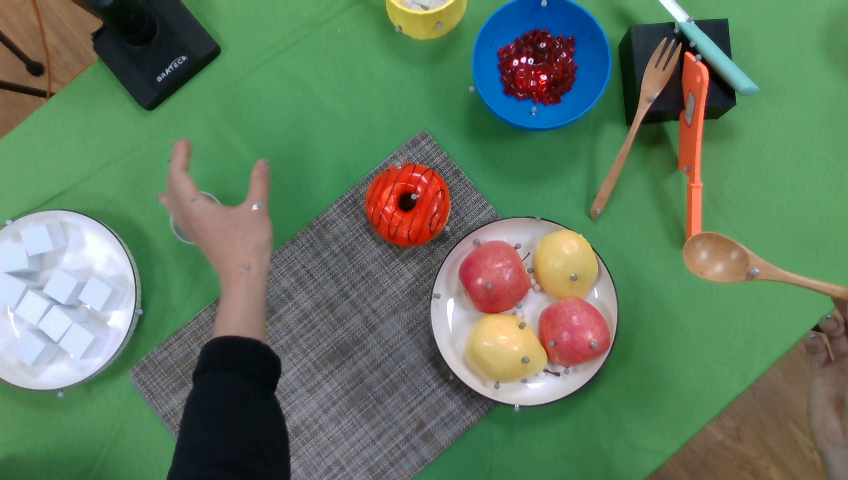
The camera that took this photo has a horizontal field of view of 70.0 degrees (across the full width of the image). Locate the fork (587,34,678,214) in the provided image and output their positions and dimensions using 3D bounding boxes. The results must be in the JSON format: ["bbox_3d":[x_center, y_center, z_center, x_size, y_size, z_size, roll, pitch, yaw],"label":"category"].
[{"bbox_3d":[0.226,-0.123,0.672,0.028,0.018,0.208,19,105,-4],"label":"fork"}]

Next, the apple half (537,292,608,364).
[{"bbox_3d":[0.155,0.097,0.656,0.081,0.033,0.081,2,97,22],"label":"apple half"}]

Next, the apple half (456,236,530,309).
[{"bbox_3d":[0.075,0.037,0.665,0.074,0.053,0.080,-23,87,0],"label":"apple half"}]

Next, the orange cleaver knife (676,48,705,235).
[{"bbox_3d":[0.291,-0.102,0.670,0.012,0.077,0.212,-4,109,7],"label":"orange cleaver knife"}]

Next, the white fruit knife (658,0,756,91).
[{"bbox_3d":[0.288,-0.241,0.668,0.027,0.016,0.206,-34,81,-31],"label":"white fruit knife"}]

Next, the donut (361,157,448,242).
[{"bbox_3d":[-0.022,-0.046,0.692,0.099,0.048,0.099,0,86,4],"label":"donut"}]

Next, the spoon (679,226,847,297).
[{"bbox_3d":[0.305,0.031,0.485,0.192,0.022,0.041,19,82,22],"label":"spoon"}]

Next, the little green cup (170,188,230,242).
[{"bbox_3d":[-0.258,-0.026,0.706,0.061,0.039,0.061,0,84,3],"label":"little green cup"}]

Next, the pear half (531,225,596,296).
[{"bbox_3d":[0.151,0.029,0.666,0.070,0.031,0.088,-11,94,25],"label":"pear half"}]

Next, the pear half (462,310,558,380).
[{"bbox_3d":[0.100,0.121,0.660,0.110,0.056,0.076,23,90,0],"label":"pear half"}]

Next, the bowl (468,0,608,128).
[{"bbox_3d":[0.124,-0.192,0.688,0.151,0.077,0.151,0,85,2],"label":"bowl"}]

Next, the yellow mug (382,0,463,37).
[{"bbox_3d":[-0.018,-0.305,0.711,0.131,0.064,0.100,17,85,5],"label":"yellow mug"}]

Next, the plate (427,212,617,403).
[{"bbox_3d":[0.108,0.073,0.678,0.209,0.038,0.208,0,84,2],"label":"plate"}]

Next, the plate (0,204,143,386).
[{"bbox_3d":[-0.425,0.063,0.704,0.207,0.039,0.207,0,84,2],"label":"plate"}]
